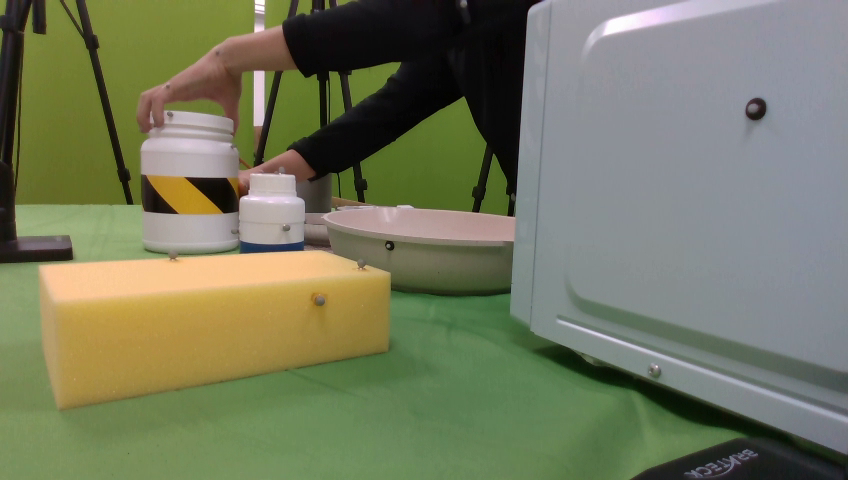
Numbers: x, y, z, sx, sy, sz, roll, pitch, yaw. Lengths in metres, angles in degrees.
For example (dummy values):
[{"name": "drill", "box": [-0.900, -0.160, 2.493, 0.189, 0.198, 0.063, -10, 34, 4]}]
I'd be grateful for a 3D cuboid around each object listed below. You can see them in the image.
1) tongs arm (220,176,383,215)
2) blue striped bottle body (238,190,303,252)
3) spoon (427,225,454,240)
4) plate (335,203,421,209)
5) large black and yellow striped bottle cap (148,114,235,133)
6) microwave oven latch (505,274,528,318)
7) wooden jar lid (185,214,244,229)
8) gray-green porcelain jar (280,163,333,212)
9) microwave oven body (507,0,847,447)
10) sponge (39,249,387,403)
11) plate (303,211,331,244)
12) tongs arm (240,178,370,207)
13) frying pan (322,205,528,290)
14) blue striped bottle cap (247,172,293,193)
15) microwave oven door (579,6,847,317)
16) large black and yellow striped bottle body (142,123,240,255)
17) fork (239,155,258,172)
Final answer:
[{"name": "tongs arm", "box": [-0.285, -0.104, 1.445, 0.389, 0.027, 0.028, 9, -4, -23]}, {"name": "blue striped bottle body", "box": [-0.153, -0.007, 0.605, 0.063, 0.120, 0.063, 2, 7, 0]}, {"name": "spoon", "box": [0.024, -0.018, 1.125, 0.042, 0.021, 0.193, -14, 9, -5]}, {"name": "plate", "box": [-0.089, -0.053, 1.309, 0.208, 0.039, 0.207, 2, 8, 0]}, {"name": "large black and yellow striped bottle cap", "box": [-0.330, -0.165, 0.862, 0.115, 0.019, 0.115, 1, 6, 0]}, {"name": "microwave oven latch", "box": [0.100, 0.041, 0.472, 0.079, 0.029, 0.030, -2, 8, -30]}, {"name": "wooden jar lid", "box": [-0.404, -0.037, 1.169, 0.108, 0.020, 0.108, 3, 7, 0]}, {"name": "gray-green porcelain jar", "box": [-0.238, -0.092, 1.221, 0.106, 0.126, 0.106, 2, 7, 0]}, {"name": "microwave oven body", "box": [0.331, -0.042, 0.425, 0.444, 0.260, 0.324, -2, 8, -31]}, {"name": "sponge", "box": [-0.142, 0.047, 0.420, 0.208, 0.061, 0.117, -3, 8, -36]}, {"name": "plate", "box": [-0.139, -0.022, 1.021, 0.209, 0.038, 0.209, 2, 8, 0]}, {"name": "tongs arm", "box": [-0.242, -0.095, 1.374, 0.387, 0.026, 0.050, 9, 0, -37]}, {"name": "frying pan", "box": [0.110, -0.018, 0.800, 0.490, 0.102, 0.305, -12, 16, -30]}, {"name": "blue striped bottle cap", "box": [-0.152, -0.057, 0.598, 0.044, 0.020, 0.044, 3, 6, 0]}, {"name": "microwave oven door", "box": [0.294, -0.067, 0.570, 0.358, 0.243, 0.039, -3, 9, -31]}, {"name": "large black and yellow striped bottle body", "box": [-0.334, -0.078, 0.872, 0.131, 0.184, 0.130, 2, 7, 0]}, {"name": "fork", "box": [-0.396, -0.143, 1.486, 0.028, 0.018, 0.208, 20, -26, 45]}]
